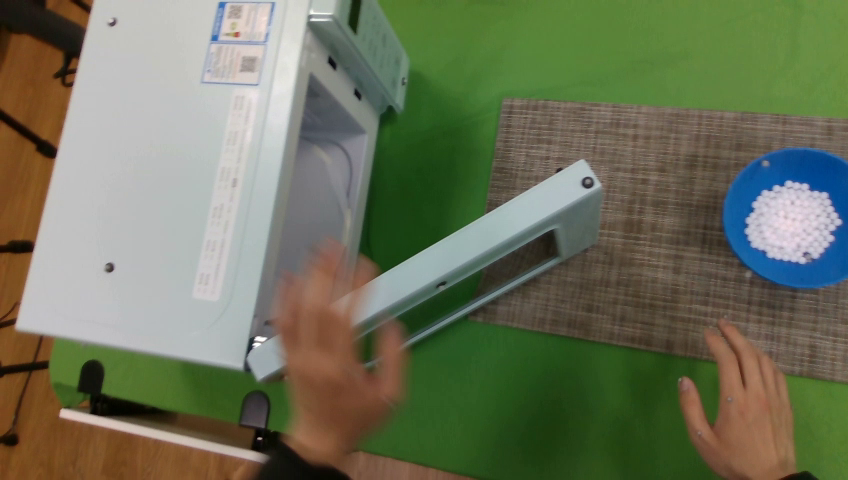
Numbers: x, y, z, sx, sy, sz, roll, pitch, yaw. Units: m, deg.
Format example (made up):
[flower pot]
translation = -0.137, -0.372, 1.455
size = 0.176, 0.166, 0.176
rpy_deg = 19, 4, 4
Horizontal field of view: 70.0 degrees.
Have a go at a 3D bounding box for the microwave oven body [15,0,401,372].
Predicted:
[microwave oven body]
translation = -0.234, -0.081, 0.737
size = 0.325, 0.262, 0.440
rpy_deg = 6, 82, 15

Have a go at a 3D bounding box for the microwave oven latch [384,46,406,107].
[microwave oven latch]
translation = -0.043, -0.221, 0.817
size = 0.030, 0.030, 0.079
rpy_deg = 6, 82, 15

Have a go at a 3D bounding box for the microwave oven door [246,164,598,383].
[microwave oven door]
translation = 0.019, 0.053, 0.643
size = 0.356, 0.245, 0.039
rpy_deg = -31, 72, 7

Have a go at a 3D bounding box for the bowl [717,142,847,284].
[bowl]
translation = 0.395, -0.022, 0.663
size = 0.151, 0.077, 0.150
rpy_deg = -3, 79, 14
